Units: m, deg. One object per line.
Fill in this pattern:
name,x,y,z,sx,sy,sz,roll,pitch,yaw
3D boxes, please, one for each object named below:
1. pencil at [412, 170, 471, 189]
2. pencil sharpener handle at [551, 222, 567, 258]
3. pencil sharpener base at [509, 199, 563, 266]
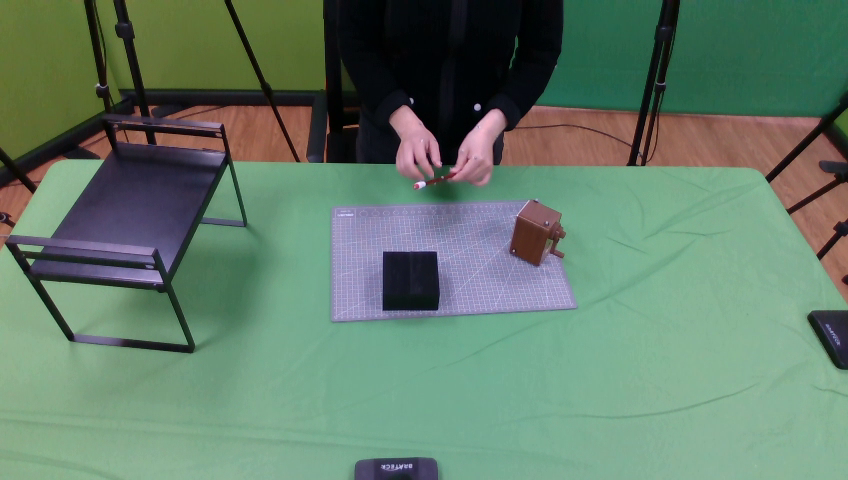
pencil,0.038,-0.119,1.161,0.012,0.012,0.194,33,31,25
pencil sharpener handle,0.258,0.002,1.132,0.030,0.068,0.036,27,42,21
pencil sharpener base,0.216,-0.012,1.160,0.076,0.107,0.061,27,50,21
